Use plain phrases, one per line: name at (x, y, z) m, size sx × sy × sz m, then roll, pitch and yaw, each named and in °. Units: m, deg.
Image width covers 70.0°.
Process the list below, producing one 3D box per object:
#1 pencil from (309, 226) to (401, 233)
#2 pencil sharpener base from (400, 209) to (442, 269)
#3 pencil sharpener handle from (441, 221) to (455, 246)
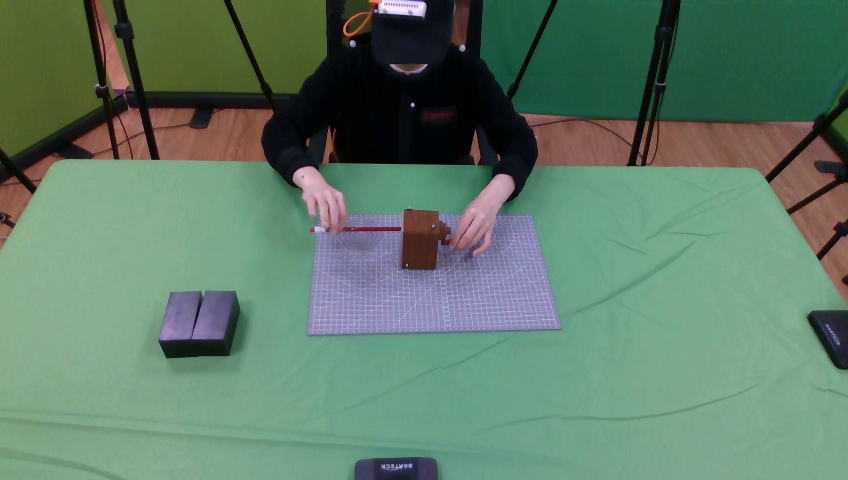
pencil at (-0.113, -0.019, 1.112) m, size 0.194 × 0.012 × 0.012 m, roll 0°, pitch 46°, yaw -1°
pencil sharpener base at (-0.006, 0.000, 1.134) m, size 0.077 × 0.107 × 0.061 m, roll 2°, pitch 45°, yaw -3°
pencil sharpener handle at (0.046, -0.010, 1.130) m, size 0.031 × 0.068 × 0.036 m, roll 2°, pitch 58°, yaw -3°
